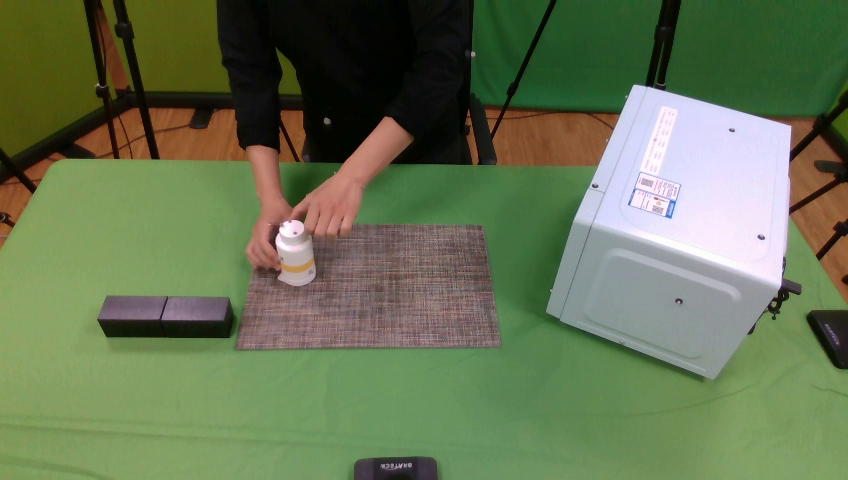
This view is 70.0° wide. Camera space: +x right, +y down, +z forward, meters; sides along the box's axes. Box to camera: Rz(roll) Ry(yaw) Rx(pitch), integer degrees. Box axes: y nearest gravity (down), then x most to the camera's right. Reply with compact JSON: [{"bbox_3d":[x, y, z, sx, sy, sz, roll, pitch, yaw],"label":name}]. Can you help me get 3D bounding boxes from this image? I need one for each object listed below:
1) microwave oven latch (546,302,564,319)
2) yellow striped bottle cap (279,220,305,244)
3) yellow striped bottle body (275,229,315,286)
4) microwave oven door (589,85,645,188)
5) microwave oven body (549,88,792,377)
[{"bbox_3d":[0.242,0.102,1.081,0.030,0.029,0.079,22,48,17],"label":"microwave oven latch"},{"bbox_3d":[-0.229,-0.014,1.046,0.044,0.019,0.044,1,46,-1],"label":"yellow striped bottle cap"},{"bbox_3d":[-0.231,0.022,1.083,0.063,0.121,0.062,2,46,-2],"label":"yellow striped bottle body"},{"bbox_3d":[0.341,-0.107,1.148,0.039,0.245,0.354,20,48,15],"label":"microwave oven door"},{"bbox_3d":[0.456,-0.028,1.088,0.325,0.261,0.440,20,47,16],"label":"microwave oven body"}]
